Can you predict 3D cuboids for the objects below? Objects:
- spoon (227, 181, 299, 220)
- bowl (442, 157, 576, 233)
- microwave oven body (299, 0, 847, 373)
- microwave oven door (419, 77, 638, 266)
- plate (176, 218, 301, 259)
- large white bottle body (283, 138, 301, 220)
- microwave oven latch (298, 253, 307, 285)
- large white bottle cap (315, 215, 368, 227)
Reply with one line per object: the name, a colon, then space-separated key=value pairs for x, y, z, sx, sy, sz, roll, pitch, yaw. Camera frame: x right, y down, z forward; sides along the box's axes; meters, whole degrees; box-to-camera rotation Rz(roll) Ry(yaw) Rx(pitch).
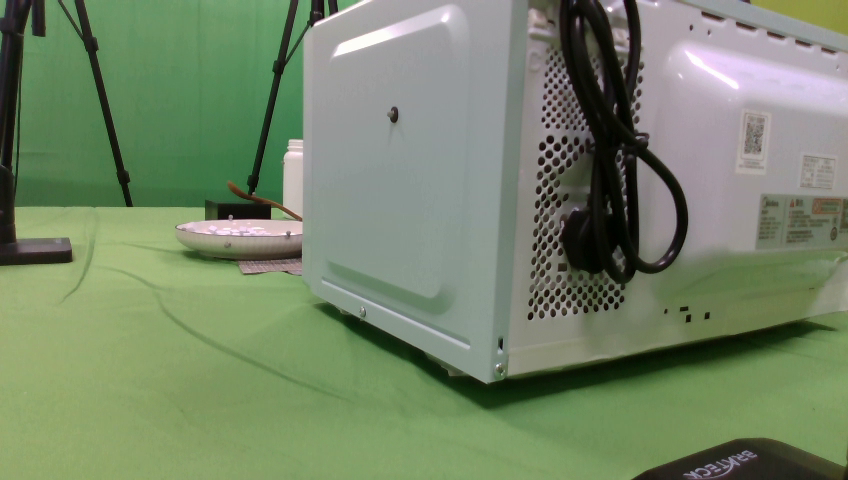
spoon: x=-0.315 y=-0.074 z=1.235 sx=0.195 sy=0.021 sz=0.041 roll=24 pitch=-9 yaw=-37
bowl: x=0.094 y=-0.052 z=0.689 sx=0.151 sy=0.077 sz=0.151 roll=1 pitch=11 yaw=0
microwave oven body: x=0.152 y=-0.055 z=0.542 sx=0.444 sy=0.260 sz=0.324 roll=-2 pitch=7 yaw=-33
microwave oven door: x=0.133 y=-0.105 z=0.894 sx=0.354 sy=0.243 sz=0.039 roll=9 pitch=10 yaw=43
plate: x=-0.248 y=-0.003 z=0.877 sx=0.209 sy=0.038 sz=0.209 roll=1 pitch=8 yaw=0
large white bottle body: x=-0.265 y=-0.144 z=1.423 sx=0.131 sy=0.184 sz=0.130 roll=2 pitch=7 yaw=0
microwave oven latch: x=-0.081 y=0.027 z=0.582 sx=0.079 sy=0.029 sz=0.030 roll=-1 pitch=7 yaw=-32
large white bottle cap: x=-0.178 y=-0.041 z=1.308 sx=0.115 sy=0.018 sz=0.115 roll=2 pitch=6 yaw=0
